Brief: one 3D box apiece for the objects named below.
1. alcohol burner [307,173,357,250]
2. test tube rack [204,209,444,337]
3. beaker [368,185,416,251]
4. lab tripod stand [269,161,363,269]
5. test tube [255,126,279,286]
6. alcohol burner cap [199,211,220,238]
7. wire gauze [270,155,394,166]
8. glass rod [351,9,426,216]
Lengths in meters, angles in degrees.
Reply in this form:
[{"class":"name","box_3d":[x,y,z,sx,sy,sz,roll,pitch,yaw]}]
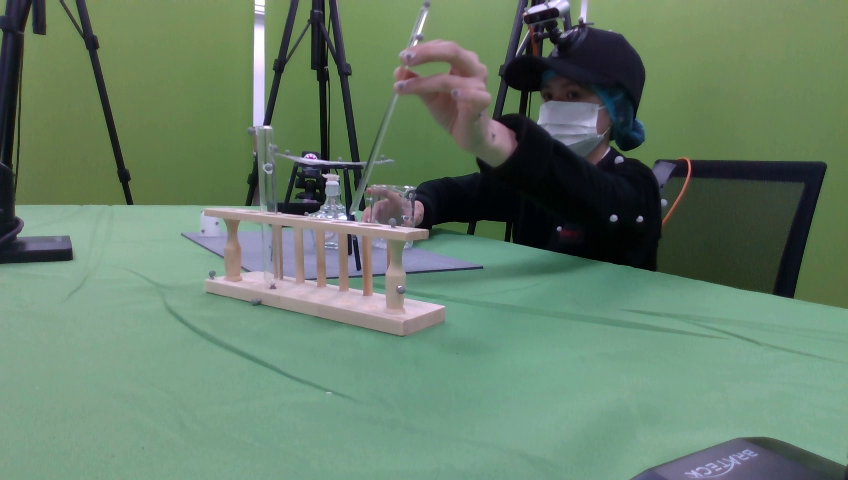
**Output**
[{"class":"alcohol burner","box_3d":[-0.144,-0.045,0.940,0.078,0.119,0.078,1,8,0]},{"class":"test tube rack","box_3d":[-0.100,0.021,0.565,0.241,0.085,0.067,7,9,32]},{"class":"beaker","box_3d":[-0.051,-0.035,0.956,0.074,0.100,0.083,-1,9,-26]},{"class":"lab tripod stand","box_3d":[-0.125,-0.036,0.794,0.148,0.131,0.148,5,7,0]},{"class":"test tube","box_3d":[-0.147,-0.031,0.566,0.017,0.150,0.017,-1,8,0]},{"class":"alcohol burner cap","box_3d":[-0.356,-0.027,1.002,0.034,0.048,0.034,2,7,0]},{"class":"wire gauze","box_3d":[-0.121,-0.102,0.785,0.122,0.011,0.124,-3,10,-39]},{"class":"glass rod","box_3d":[-0.031,-0.116,0.547,0.008,0.199,0.008,18,-3,1]}]
